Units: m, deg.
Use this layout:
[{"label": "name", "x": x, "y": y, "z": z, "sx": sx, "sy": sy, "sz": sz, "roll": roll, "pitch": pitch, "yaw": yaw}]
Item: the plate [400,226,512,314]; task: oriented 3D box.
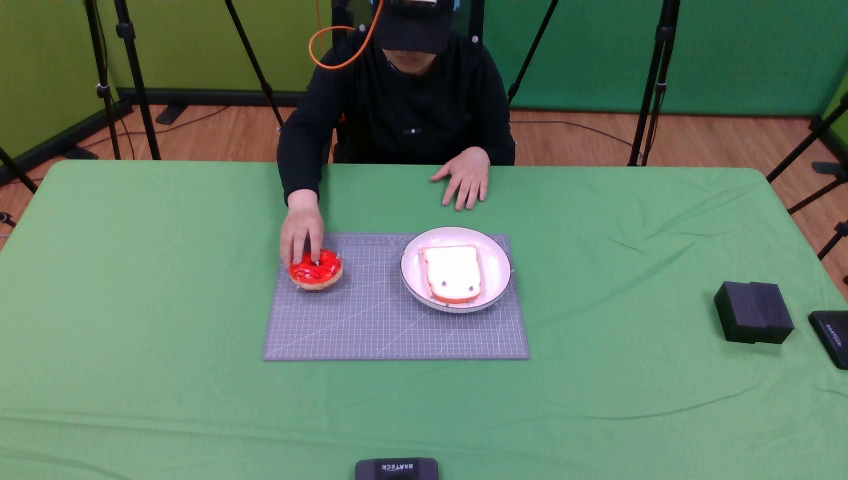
[{"label": "plate", "x": 0.057, "y": 0.058, "z": 1.134, "sx": 0.209, "sy": 0.038, "sz": 0.208, "roll": 2, "pitch": 46, "yaw": -2}]

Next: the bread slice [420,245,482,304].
[{"label": "bread slice", "x": 0.056, "y": 0.063, "z": 1.131, "sx": 0.107, "sy": 0.018, "sz": 0.133, "roll": -6, "pitch": 46, "yaw": -8}]

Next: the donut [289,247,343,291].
[{"label": "donut", "x": -0.198, "y": 0.051, "z": 1.110, "sx": 0.099, "sy": 0.048, "sz": 0.098, "roll": 0, "pitch": 38, "yaw": 0}]
